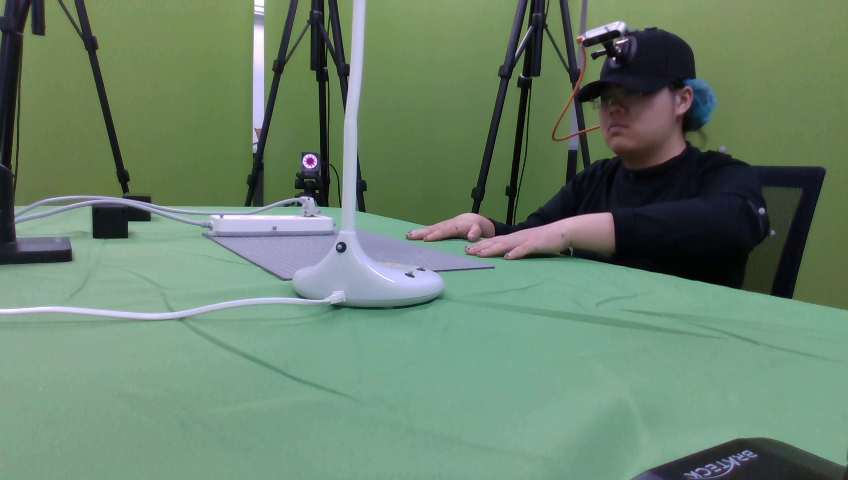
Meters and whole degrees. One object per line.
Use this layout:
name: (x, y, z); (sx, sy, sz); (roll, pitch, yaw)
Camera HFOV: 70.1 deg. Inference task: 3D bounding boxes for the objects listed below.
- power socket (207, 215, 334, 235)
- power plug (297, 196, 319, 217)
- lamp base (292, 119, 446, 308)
power socket: (-0.270, -0.028, 1.082); (0.228, 0.032, 0.072); (-2, 7, -30)
power plug: (-0.219, -0.056, 1.143); (0.035, 0.052, 0.072); (0, 7, -19)
lamp base: (-0.056, -0.030, 0.616); (0.160, 0.180, 0.179); (4, 10, 8)
